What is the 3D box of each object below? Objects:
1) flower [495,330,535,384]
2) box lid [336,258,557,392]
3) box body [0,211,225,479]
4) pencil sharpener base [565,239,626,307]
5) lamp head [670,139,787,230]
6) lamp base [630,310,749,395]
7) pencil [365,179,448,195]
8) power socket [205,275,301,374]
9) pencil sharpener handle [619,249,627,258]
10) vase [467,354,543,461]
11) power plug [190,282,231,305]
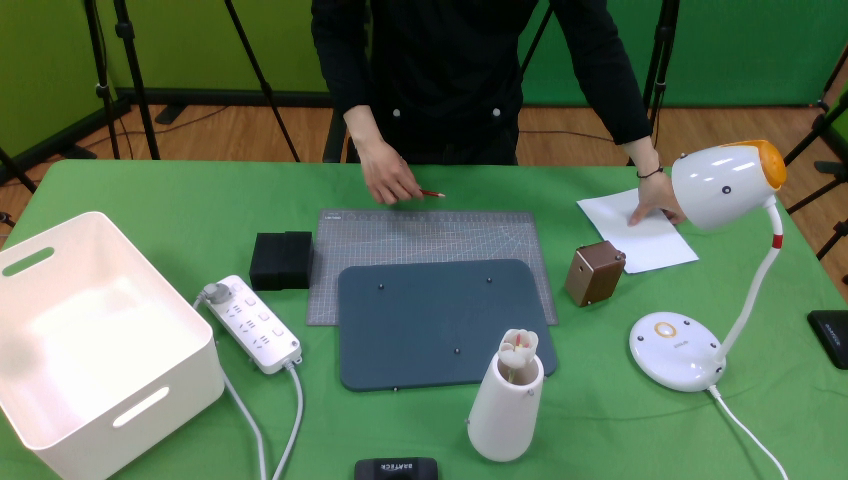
[{"bbox_3d":[0.110,0.187,0.791,0.044,0.363,0.038,-32,65,-10],"label":"flower"},{"bbox_3d":[0.030,0.140,1.073,0.372,0.015,0.261,-3,47,-7],"label":"box lid"},{"bbox_3d":[-0.504,0.154,0.916,0.362,0.161,0.254,36,54,27],"label":"box body"},{"bbox_3d":[0.313,0.060,1.104,0.077,0.107,0.061,-15,49,-18],"label":"pencil sharpener base"},{"bbox_3d":[0.415,-0.079,0.812,0.113,0.123,0.112,12,70,-37],"label":"lamp head"},{"bbox_3d":[0.447,0.142,0.984,0.161,0.181,0.178,-24,55,-24],"label":"lamp base"},{"bbox_3d":[-0.038,-0.107,1.226,0.193,0.012,0.012,12,45,27],"label":"pencil"},{"bbox_3d":[-0.296,0.140,1.035,0.072,0.033,0.225,-32,57,-29],"label":"power socket"},{"bbox_3d":[0.359,0.036,1.113,0.031,0.068,0.036,-15,61,-18],"label":"pencil sharpener handle"},{"bbox_3d":[0.116,0.234,0.861,0.098,0.201,0.097,1,47,-1],"label":"vase"},{"bbox_3d":[-0.368,0.098,1.039,0.072,0.053,0.035,-26,55,-20],"label":"power plug"}]
